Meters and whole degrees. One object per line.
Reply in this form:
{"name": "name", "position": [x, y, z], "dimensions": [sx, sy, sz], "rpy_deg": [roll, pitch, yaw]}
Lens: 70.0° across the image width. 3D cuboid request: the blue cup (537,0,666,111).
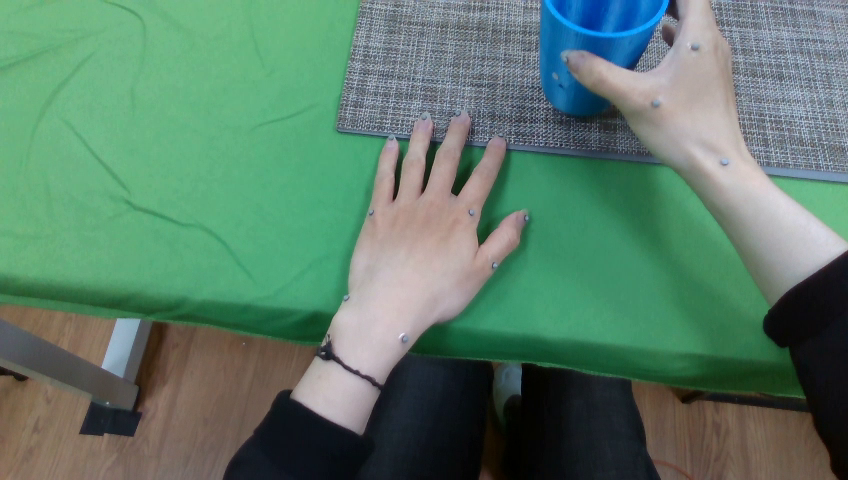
{"name": "blue cup", "position": [0.122, -0.150, 0.448], "dimensions": [0.092, 0.101, 0.092], "rpy_deg": [-1, 66, 3]}
